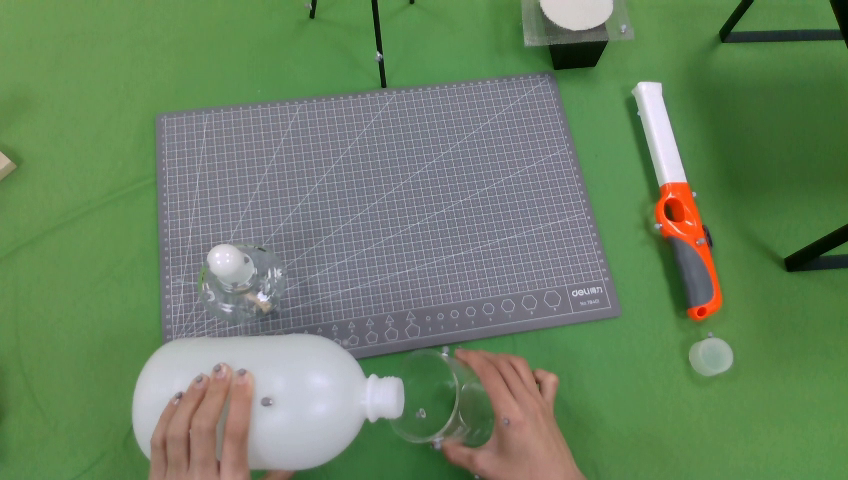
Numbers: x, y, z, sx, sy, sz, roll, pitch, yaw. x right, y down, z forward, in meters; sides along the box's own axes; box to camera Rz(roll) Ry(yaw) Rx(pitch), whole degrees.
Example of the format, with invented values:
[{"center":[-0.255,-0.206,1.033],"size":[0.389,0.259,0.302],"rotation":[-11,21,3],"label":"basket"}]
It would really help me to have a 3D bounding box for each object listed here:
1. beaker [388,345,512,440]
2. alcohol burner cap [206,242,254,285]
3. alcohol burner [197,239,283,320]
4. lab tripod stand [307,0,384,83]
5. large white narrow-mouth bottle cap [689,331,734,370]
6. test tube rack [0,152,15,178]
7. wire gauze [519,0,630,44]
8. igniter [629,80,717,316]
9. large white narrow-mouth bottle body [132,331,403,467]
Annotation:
[{"center":[0.023,0.137,0.528],"size":[0.084,0.101,0.073],"rotation":[-18,63,32],"label":"beaker"},{"center":[-0.167,0.019,0.513],"size":[0.034,0.048,0.033],"rotation":[0,75,-1],"label":"alcohol burner cap"},{"center":[-0.169,0.030,0.548],"size":[0.078,0.120,0.077],"rotation":[2,68,-5],"label":"alcohol burner"},{"center":[-0.062,-0.267,0.655],"size":[0.148,0.132,0.147],"rotation":[2,71,-5],"label":"lab tripod stand"},{"center":[0.286,0.110,0.605],"size":[0.038,0.024,0.037],"rotation":[1,69,-3],"label":"large white narrow-mouth bottle cap"},{"center":[-0.524,-0.027,0.560],"size":[0.066,0.085,0.242],"rotation":[39,72,10],"label":"test tube rack"},{"center":[0.166,-0.276,0.688],"size":[0.121,0.011,0.124],"rotation":[-1,70,-4],"label":"wire gauze"},{"center":[0.268,-0.052,0.658],"size":[0.057,0.025,0.274],"rotation":[-1,70,-16],"label":"igniter"},{"center":[-0.112,0.122,0.468],"size":[0.194,0.102,0.101],"rotation":[-4,69,11],"label":"large white narrow-mouth bottle body"}]
